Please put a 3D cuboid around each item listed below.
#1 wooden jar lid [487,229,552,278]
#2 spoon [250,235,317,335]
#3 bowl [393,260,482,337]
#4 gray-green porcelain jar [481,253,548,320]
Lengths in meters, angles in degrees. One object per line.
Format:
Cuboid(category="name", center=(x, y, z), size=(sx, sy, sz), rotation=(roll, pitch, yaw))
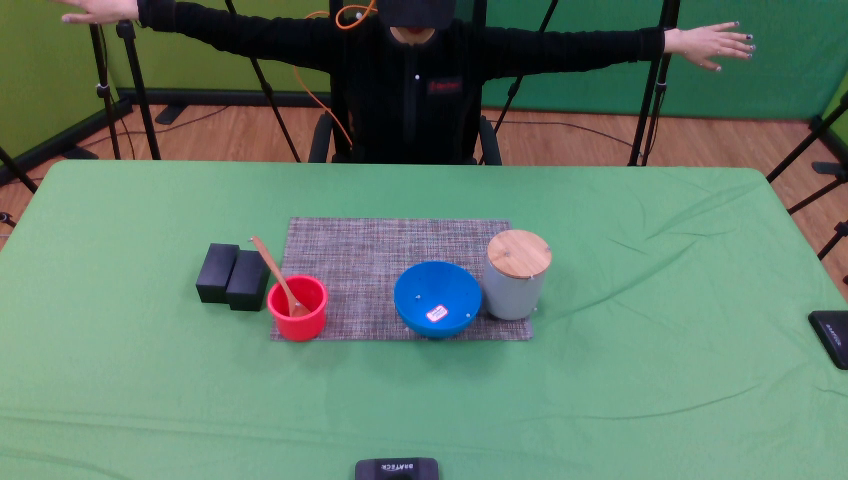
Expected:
Cuboid(category="wooden jar lid", center=(0.160, 0.026, 1.018), size=(0.108, 0.021, 0.107), rotation=(2, 47, -1))
Cuboid(category="spoon", center=(-0.237, 0.075, 1.019), size=(0.041, 0.021, 0.194), rotation=(-32, 100, -32))
Cuboid(category="bowl", center=(0.021, 0.115, 1.045), size=(0.151, 0.077, 0.150), rotation=(2, 46, -2))
Cuboid(category="gray-green porcelain jar", center=(0.156, 0.070, 1.064), size=(0.106, 0.127, 0.105), rotation=(2, 46, -2))
